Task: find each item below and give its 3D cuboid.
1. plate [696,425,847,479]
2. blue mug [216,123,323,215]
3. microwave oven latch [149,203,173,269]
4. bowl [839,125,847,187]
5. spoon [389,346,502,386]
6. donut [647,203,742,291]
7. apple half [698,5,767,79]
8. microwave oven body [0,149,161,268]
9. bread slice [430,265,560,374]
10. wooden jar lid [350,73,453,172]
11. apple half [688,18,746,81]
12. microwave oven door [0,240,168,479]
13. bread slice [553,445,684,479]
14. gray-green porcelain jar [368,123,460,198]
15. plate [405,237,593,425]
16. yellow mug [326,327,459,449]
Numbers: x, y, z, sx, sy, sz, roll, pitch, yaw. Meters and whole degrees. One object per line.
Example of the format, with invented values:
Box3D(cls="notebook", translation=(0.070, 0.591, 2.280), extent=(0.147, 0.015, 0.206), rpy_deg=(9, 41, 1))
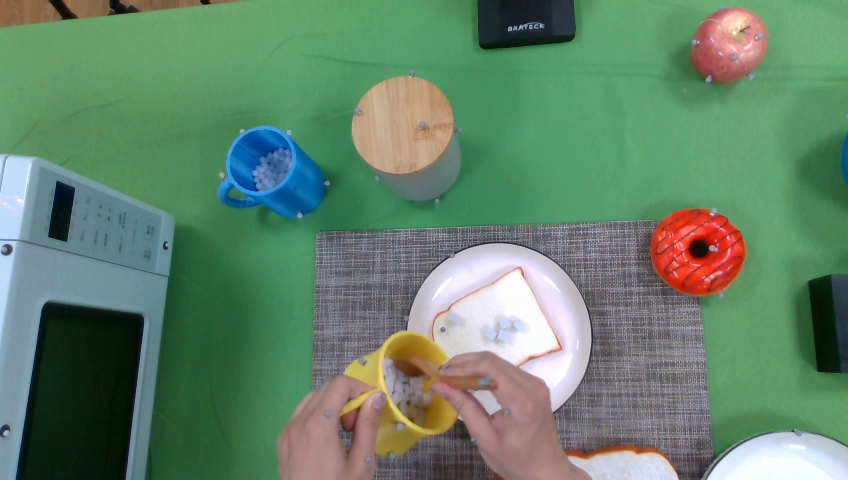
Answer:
Box3D(cls="plate", translation=(0.374, 0.294, 0.615), extent=(0.209, 0.038, 0.208), rpy_deg=(-1, 80, 8))
Box3D(cls="blue mug", translation=(-0.190, -0.074, 0.726), extent=(0.116, 0.106, 0.082), rpy_deg=(-27, 77, 3))
Box3D(cls="microwave oven latch", translation=(-0.332, -0.005, 0.750), extent=(0.030, 0.029, 0.079), rpy_deg=(4, 81, 8))
Box3D(cls="bowl", translation=(0.509, -0.083, 0.641), extent=(0.151, 0.077, 0.151), rpy_deg=(-1, 80, 8))
Box3D(cls="spoon", translation=(0.016, 0.112, 0.527), extent=(0.042, 0.193, 0.021), rpy_deg=(30, 77, -20))
Box3D(cls="donut", translation=(0.297, 0.008, 0.670), extent=(0.099, 0.048, 0.098), rpy_deg=(-1, 81, 8))
Box3D(cls="apple half", translation=(0.355, -0.230, 0.692), extent=(0.053, 0.075, 0.080), rpy_deg=(-33, 73, -4))
Box3D(cls="microwave oven body", translation=(-0.502, 0.148, 0.648), extent=(0.325, 0.261, 0.440), rpy_deg=(1, 81, 8))
Box3D(cls="bread slice", translation=(0.074, 0.102, 0.689), extent=(0.131, 0.019, 0.104), rpy_deg=(-28, 78, 2))
Box3D(cls="wooden jar lid", translation=(-0.023, -0.121, 0.636), extent=(0.108, 0.021, 0.108), rpy_deg=(-2, 78, 8))
Box3D(cls="apple half", translation=(0.324, -0.207, 0.691), extent=(0.033, 0.081, 0.081), rpy_deg=(-34, 77, -4))
Box3D(cls="microwave oven door", translation=(-0.361, 0.193, 0.615), extent=(0.039, 0.245, 0.354), rpy_deg=(1, 80, 9))
Box3D(cls="bread slice", translation=(0.206, 0.268, 0.617), extent=(0.134, 0.018, 0.106), rpy_deg=(-6, 75, -13))
Box3D(cls="gray-green porcelain jar", translation=(-0.014, -0.109, 0.697), extent=(0.106, 0.127, 0.105), rpy_deg=(-1, 79, 8))
Box3D(cls="plate", translation=(0.084, 0.101, 0.687), extent=(0.207, 0.039, 0.207), rpy_deg=(-1, 80, 8))
Box3D(cls="yellow mug", translation=(-0.034, 0.142, 0.565), extent=(0.064, 0.131, 0.099), rpy_deg=(-38, 69, 37))
